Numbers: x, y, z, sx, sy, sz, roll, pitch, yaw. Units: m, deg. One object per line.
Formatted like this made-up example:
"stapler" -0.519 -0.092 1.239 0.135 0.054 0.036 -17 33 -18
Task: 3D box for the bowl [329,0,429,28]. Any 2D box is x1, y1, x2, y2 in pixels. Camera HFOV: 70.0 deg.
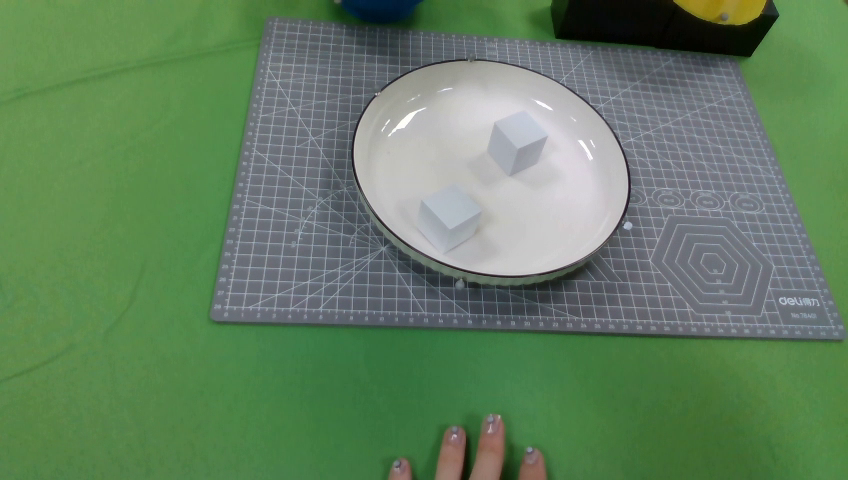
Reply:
"bowl" -0.044 -0.250 0.553 0.151 0.077 0.150 3 57 -5

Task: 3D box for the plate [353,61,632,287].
"plate" 0.050 -0.051 0.461 0.208 0.039 0.205 4 57 -5

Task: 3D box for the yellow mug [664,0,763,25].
"yellow mug" 0.255 -0.248 0.540 0.131 0.064 0.099 -12 60 -13
